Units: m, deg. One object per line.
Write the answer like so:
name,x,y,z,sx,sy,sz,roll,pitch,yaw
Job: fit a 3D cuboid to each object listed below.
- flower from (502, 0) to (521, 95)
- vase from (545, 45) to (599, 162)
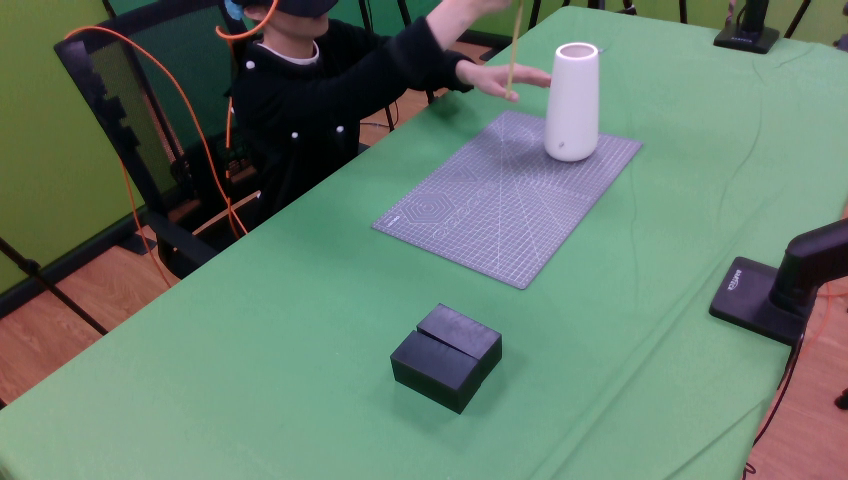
flower,0.139,-0.368,0.856,0.038,0.362,0.043,-28,52,-30
vase,0.267,-0.238,1.074,0.098,0.201,0.097,-4,42,4
